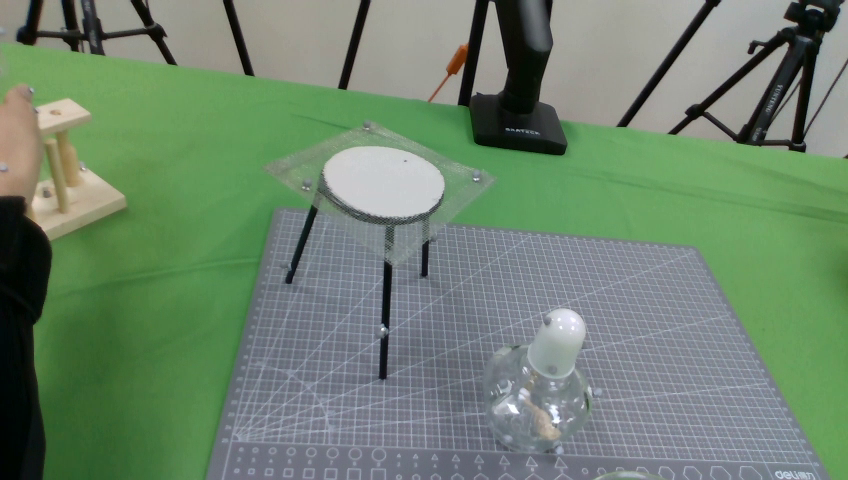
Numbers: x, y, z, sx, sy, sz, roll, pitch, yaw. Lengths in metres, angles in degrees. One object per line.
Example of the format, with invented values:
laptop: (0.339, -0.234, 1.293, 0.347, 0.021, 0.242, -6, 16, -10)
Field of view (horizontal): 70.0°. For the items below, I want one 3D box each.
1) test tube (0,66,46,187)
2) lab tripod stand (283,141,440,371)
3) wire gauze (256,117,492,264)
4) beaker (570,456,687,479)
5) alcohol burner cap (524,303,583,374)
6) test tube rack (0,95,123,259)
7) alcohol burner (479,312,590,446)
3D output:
test tube: (-0.336, -0.104, 0.487, 0.017, 0.151, 0.017, 4, 43, -3)
lab tripod stand: (-0.040, 0.005, 0.469, 0.149, 0.132, 0.147, 8, 41, -7)
wire gauze: (-0.032, -0.046, 0.425, 0.124, 0.011, 0.121, 32, 45, 21)
beaker: (0.079, 0.155, 0.252, 0.073, 0.101, 0.083, 21, 36, 14)
alcohol burner cap: (0.086, 0.062, 0.393, 0.034, 0.048, 0.033, 5, 45, -4)
test tube rack: (-0.369, -0.027, 0.466, 0.066, 0.086, 0.242, 31, 43, 21)
alcohol burner: (0.080, 0.088, 0.417, 0.078, 0.120, 0.077, 8, 39, -6)
